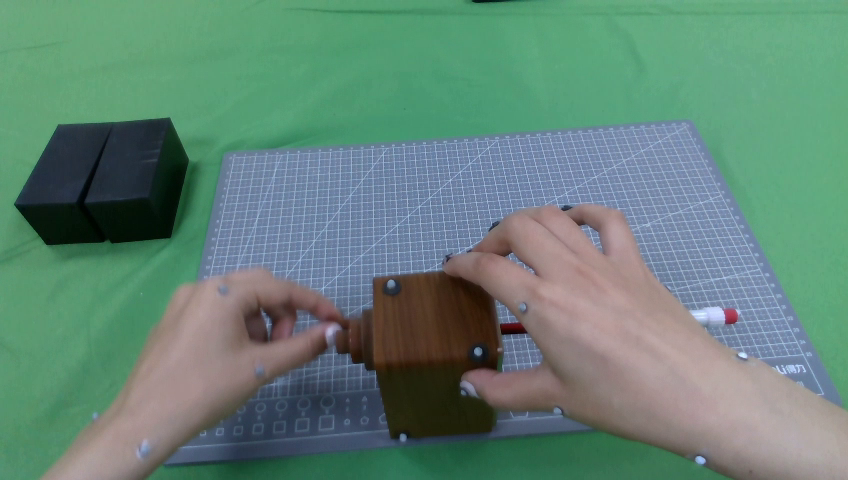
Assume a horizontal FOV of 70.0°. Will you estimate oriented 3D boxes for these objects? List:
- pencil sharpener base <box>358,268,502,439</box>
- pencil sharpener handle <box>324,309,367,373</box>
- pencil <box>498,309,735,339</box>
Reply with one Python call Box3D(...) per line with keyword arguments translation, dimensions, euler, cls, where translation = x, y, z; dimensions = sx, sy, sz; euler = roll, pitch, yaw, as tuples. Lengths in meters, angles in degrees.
Box3D(translation=(0.004, 0.073, 0.372), dimensions=(0.077, 0.108, 0.060), euler=(-5, 51, -1), cls="pencil sharpener base")
Box3D(translation=(-0.049, 0.058, 0.365), dimensions=(0.030, 0.067, 0.036), euler=(-5, 95, -1), cls="pencil sharpener handle")
Box3D(translation=(0.087, 0.051, 0.355), dimensions=(0.194, 0.012, 0.012), euler=(-3, 50, -3), cls="pencil")
